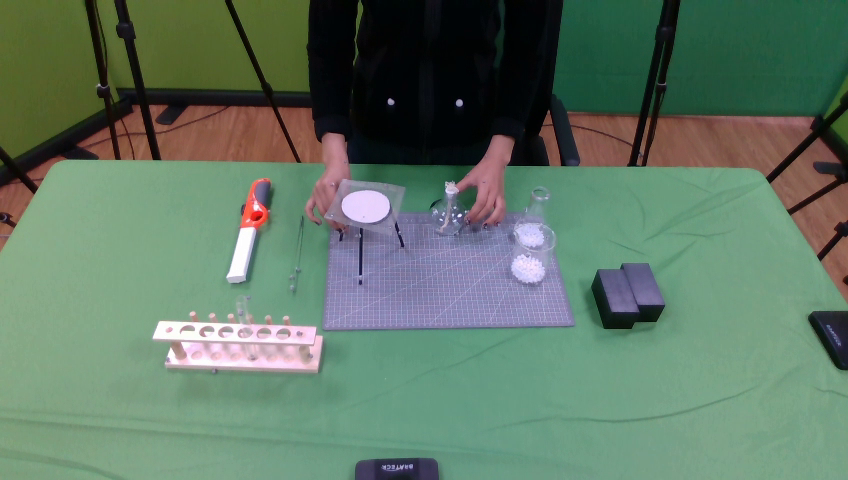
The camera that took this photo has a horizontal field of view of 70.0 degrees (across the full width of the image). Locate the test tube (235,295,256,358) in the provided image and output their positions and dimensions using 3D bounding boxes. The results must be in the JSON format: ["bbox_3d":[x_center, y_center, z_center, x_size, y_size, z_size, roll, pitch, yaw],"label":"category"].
[{"bbox_3d":[-0.274,0.136,0.933,0.017,0.151,0.017,4,45,-4],"label":"test tube"}]

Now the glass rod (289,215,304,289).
[{"bbox_3d":[-0.246,0.019,1.171,0.008,0.008,0.198,1,44,-3],"label":"glass rod"}]

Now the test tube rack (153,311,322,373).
[{"bbox_3d":[-0.293,0.160,0.978,0.242,0.085,0.066,3,46,-2],"label":"test tube rack"}]

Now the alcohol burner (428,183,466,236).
[{"bbox_3d":[0.047,-0.066,1.201,0.078,0.119,0.077,4,45,-4],"label":"alcohol burner"}]

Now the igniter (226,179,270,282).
[{"bbox_3d":[-0.344,-0.027,1.195,0.057,0.025,0.274,-5,46,4],"label":"igniter"}]

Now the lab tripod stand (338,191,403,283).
[{"bbox_3d":[-0.105,-0.016,1.125,0.148,0.132,0.147,3,44,-2],"label":"lab tripod stand"}]

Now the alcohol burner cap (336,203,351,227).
[{"bbox_3d":[-0.163,-0.053,1.220,0.034,0.048,0.033,2,46,-2],"label":"alcohol burner cap"}]

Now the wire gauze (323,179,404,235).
[{"bbox_3d":[-0.106,-0.064,1.078,0.125,0.011,0.121,11,45,5],"label":"wire gauze"}]

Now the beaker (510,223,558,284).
[{"bbox_3d":[0.199,0.027,1.132,0.083,0.101,0.074,27,50,21],"label":"beaker"}]

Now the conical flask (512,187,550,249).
[{"bbox_3d":[0.217,-0.048,1.190,0.075,0.122,0.075,2,46,-2],"label":"conical flask"}]
